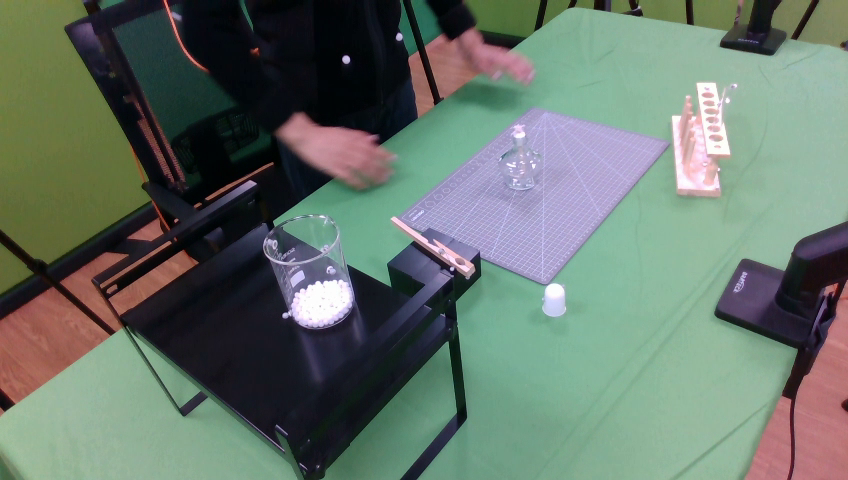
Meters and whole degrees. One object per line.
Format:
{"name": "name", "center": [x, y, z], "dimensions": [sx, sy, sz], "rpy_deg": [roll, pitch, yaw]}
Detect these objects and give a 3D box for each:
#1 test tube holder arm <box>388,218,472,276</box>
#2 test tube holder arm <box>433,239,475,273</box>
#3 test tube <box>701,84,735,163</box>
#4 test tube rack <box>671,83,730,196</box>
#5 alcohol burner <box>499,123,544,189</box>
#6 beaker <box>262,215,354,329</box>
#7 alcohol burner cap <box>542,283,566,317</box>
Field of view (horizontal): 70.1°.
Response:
{"name": "test tube holder arm", "center": [0.005, 0.008, 0.895], "dimensions": [0.013, 0.015, 0.177], "rpy_deg": [-35, 46, -29]}
{"name": "test tube holder arm", "center": [0.040, 0.024, 0.871], "dimensions": [0.010, 0.015, 0.087], "rpy_deg": [-33, 46, -28]}
{"name": "test tube", "center": [0.483, -0.189, 0.996], "dimensions": [0.017, 0.151, 0.017], "rpy_deg": [-2, 46, 3]}
{"name": "test tube rack", "center": [0.482, -0.184, 1.067], "dimensions": [0.066, 0.085, 0.242], "rpy_deg": [5, 42, 15]}
{"name": "alcohol burner", "center": [0.168, -0.149, 1.048], "dimensions": [0.078, 0.119, 0.077], "rpy_deg": [-6, 41, 5]}
{"name": "beaker", "center": [-0.112, 0.034, 0.616], "dimensions": [0.073, 0.101, 0.084], "rpy_deg": [13, 44, 23]}
{"name": "alcohol burner cap", "center": [0.181, 0.080, 0.839], "dimensions": [0.034, 0.048, 0.033], "rpy_deg": [-4, 40, 4]}
